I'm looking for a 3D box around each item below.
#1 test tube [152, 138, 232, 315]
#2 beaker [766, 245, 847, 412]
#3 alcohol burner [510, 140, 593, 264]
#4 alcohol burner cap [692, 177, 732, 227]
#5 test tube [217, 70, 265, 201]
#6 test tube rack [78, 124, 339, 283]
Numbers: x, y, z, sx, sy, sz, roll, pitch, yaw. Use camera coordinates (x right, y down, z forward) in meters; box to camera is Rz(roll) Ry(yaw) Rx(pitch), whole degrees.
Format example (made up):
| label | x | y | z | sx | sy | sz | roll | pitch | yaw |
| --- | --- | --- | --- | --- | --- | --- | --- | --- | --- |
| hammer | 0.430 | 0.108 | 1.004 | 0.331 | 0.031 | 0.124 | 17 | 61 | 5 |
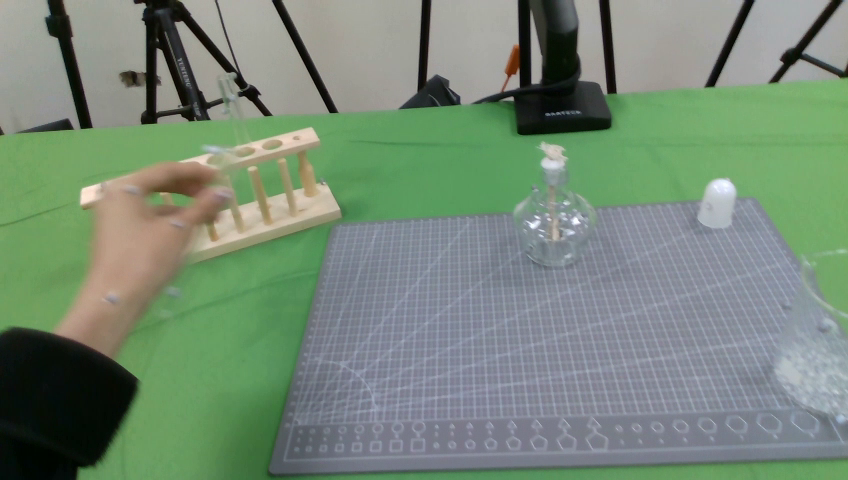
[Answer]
| label | x | y | z | sx | sy | sz | roll | pitch | yaw |
| --- | --- | --- | --- | --- | --- | --- | --- | --- | --- |
| test tube | -0.176 | -0.007 | 0.456 | 0.017 | 0.151 | 0.017 | 24 | 16 | -7 |
| beaker | 0.286 | 0.063 | 0.424 | 0.074 | 0.101 | 0.083 | -21 | 40 | -17 |
| alcohol burner | 0.118 | -0.037 | 0.563 | 0.078 | 0.120 | 0.077 | -5 | 37 | 4 |
| alcohol burner cap | 0.286 | -0.040 | 0.599 | 0.034 | 0.048 | 0.033 | -4 | 39 | 4 |
| test tube | -0.192 | -0.106 | 0.641 | 0.017 | 0.151 | 0.017 | -3 | 36 | 3 |
| test tube rack | -0.223 | -0.042 | 0.647 | 0.243 | 0.086 | 0.066 | -18 | 40 | -14 |
